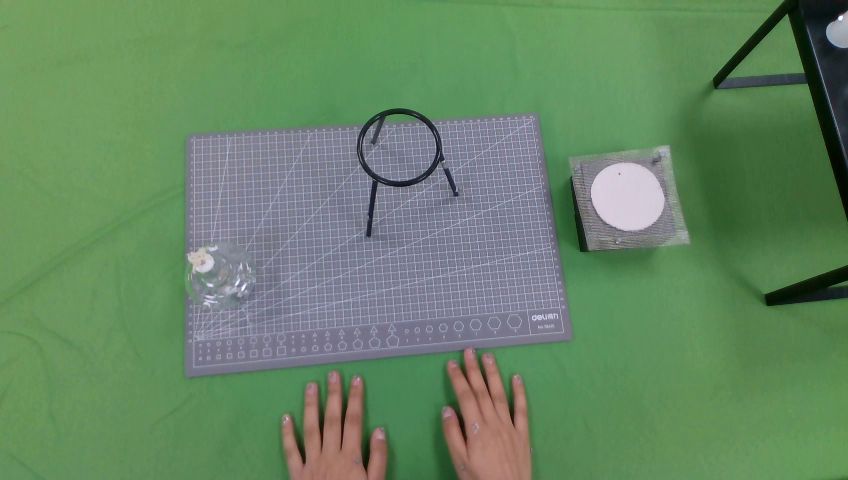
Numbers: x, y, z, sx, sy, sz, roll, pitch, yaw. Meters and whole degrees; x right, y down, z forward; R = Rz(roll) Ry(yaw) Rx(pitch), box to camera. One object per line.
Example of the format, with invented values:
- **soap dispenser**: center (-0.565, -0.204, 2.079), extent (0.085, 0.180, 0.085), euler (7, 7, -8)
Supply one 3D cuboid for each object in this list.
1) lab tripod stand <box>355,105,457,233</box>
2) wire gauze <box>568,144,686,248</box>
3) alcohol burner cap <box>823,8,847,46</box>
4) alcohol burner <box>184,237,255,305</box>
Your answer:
- **lab tripod stand**: center (-0.032, -0.086, 0.694), extent (0.148, 0.132, 0.147), euler (0, 75, -1)
- **wire gauze**: center (0.241, -0.052, 0.717), extent (0.125, 0.011, 0.121), euler (-5, 77, -4)
- **alcohol burner cap**: center (0.441, -0.225, 0.622), extent (0.034, 0.048, 0.033), euler (1, 77, -2)
- **alcohol burner**: center (-0.228, 0.030, 0.662), extent (0.078, 0.119, 0.077), euler (1, 76, -3)
